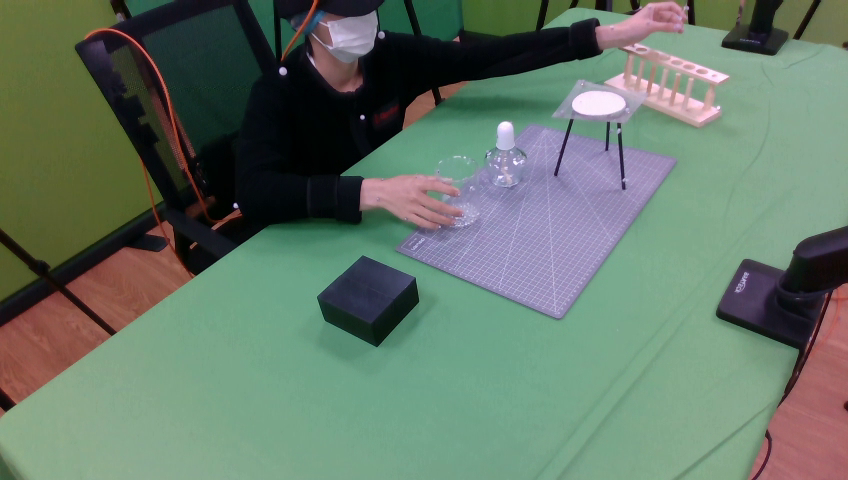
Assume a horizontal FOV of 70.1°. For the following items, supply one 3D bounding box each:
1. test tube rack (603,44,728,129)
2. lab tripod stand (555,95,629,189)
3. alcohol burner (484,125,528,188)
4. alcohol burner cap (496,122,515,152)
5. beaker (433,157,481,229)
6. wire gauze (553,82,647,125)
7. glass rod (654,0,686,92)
[{"bbox_3d":[0.480,-0.316,1.226,0.067,0.085,0.240,-28,44,-22],"label":"test tube rack"},{"bbox_3d":[0.301,-0.174,1.045,0.148,0.132,0.147,-5,38,5],"label":"lab tripod stand"},{"bbox_3d":[0.144,-0.152,1.059,0.078,0.119,0.077,-3,41,3],"label":"alcohol burner"},{"bbox_3d":[0.139,-0.179,1.037,0.034,0.048,0.033,-4,44,4],"label":"alcohol burner cap"},{"bbox_3d":[0.058,-0.077,0.995,0.073,0.101,0.084,19,46,29],"label":"beaker"},{"bbox_3d":[0.293,-0.225,1.002,0.120,0.011,0.125,17,45,27],"label":"wire gauze"},{"bbox_3d":[0.486,-0.384,1.192,0.008,0.200,0.008,3,39,-2],"label":"glass rod"}]
